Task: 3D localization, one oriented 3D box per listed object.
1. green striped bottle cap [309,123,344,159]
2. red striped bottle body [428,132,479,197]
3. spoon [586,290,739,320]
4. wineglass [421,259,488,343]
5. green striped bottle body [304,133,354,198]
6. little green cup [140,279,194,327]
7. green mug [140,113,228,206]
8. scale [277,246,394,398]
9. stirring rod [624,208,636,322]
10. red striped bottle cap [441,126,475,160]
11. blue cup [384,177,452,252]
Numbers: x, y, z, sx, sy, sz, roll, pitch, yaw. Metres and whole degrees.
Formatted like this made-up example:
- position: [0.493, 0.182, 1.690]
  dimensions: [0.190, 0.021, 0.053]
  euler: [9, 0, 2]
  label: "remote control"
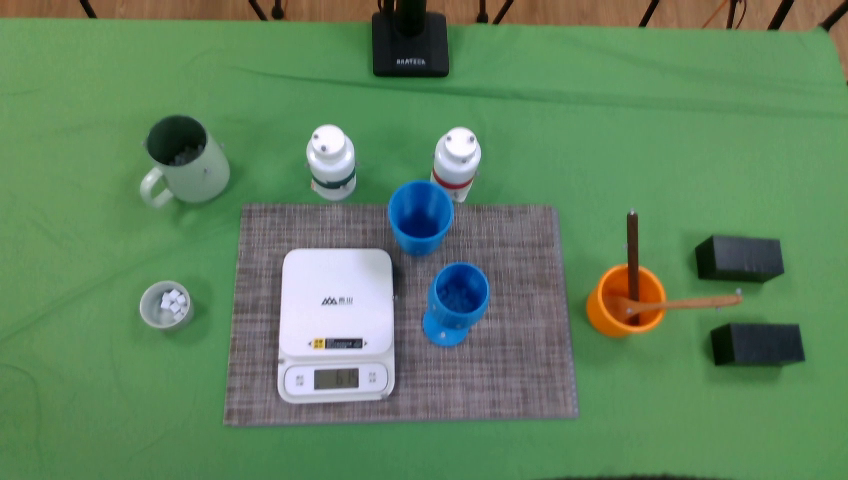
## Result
- position: [-0.125, -0.128, 0.778]
  dimensions: [0.044, 0.020, 0.044]
  euler: [1, 70, -3]
  label: "green striped bottle cap"
- position: [0.040, -0.110, 0.847]
  dimensions: [0.063, 0.120, 0.062]
  euler: [2, 70, -4]
  label: "red striped bottle body"
- position: [0.304, 0.081, 0.789]
  dimensions: [0.022, 0.193, 0.041]
  euler: [12, 73, -47]
  label: "spoon"
- position: [0.033, 0.080, 0.747]
  dimensions: [0.074, 0.173, 0.073]
  euler: [2, 70, -4]
  label: "wineglass"
- position: [-0.130, -0.108, 0.830]
  dimensions: [0.063, 0.120, 0.063]
  euler: [2, 70, -4]
  label: "green striped bottle body"
- position: [-0.331, 0.084, 0.789]
  dimensions: [0.061, 0.039, 0.061]
  euler: [2, 70, -5]
  label: "little green cup"
- position: [-0.331, -0.098, 0.817]
  dimensions: [0.092, 0.105, 0.125]
  euler: [33, 71, 7]
  label: "green mug"
- position: [-0.116, 0.104, 0.801]
  dimensions: [0.149, 0.032, 0.199]
  euler: [-1, 71, -5]
  label: "scale"
- position: [0.272, 0.037, 0.799]
  dimensions: [0.014, 0.177, 0.006]
  euler: [6, 34, 28]
  label: "stirring rod"
- position: [0.044, -0.128, 0.796]
  dimensions: [0.044, 0.018, 0.044]
  euler: [2, 69, -4]
  label: "red striped bottle cap"
- position: [-0.009, -0.026, 0.820]
  dimensions: [0.093, 0.100, 0.092]
  euler: [1, 73, -3]
  label: "blue cup"
